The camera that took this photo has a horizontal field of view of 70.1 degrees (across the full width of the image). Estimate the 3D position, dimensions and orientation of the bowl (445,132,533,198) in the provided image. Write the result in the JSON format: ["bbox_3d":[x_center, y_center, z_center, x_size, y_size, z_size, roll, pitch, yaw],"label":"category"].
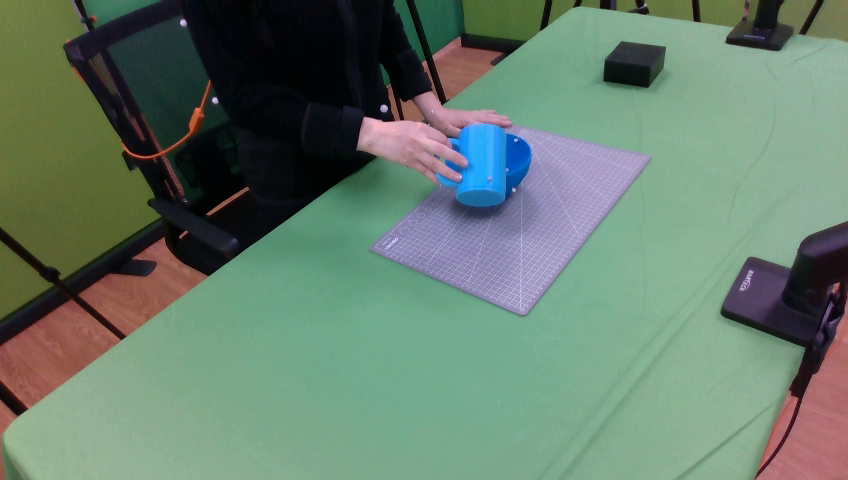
[{"bbox_3d":[0.115,-0.118,1.056,0.151,0.077,0.150,-6,40,5],"label":"bowl"}]

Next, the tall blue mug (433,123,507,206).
[{"bbox_3d":[0.077,-0.118,0.930,0.077,0.108,0.107,-18,64,53],"label":"tall blue mug"}]
